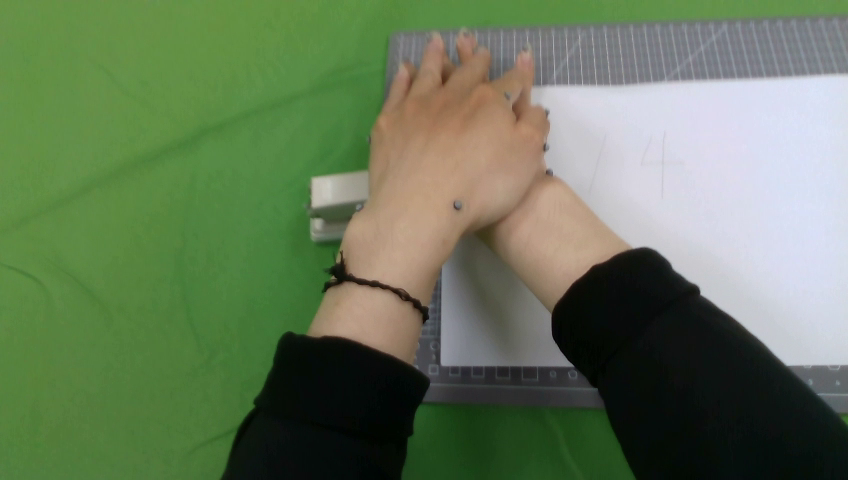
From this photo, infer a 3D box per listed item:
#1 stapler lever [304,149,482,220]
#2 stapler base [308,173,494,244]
[{"bbox_3d":[-0.021,-0.036,0.394,0.118,0.040,0.026,-5,59,0],"label":"stapler lever"},{"bbox_3d":[-0.018,-0.027,0.412,0.130,0.024,0.041,-7,59,4],"label":"stapler base"}]
